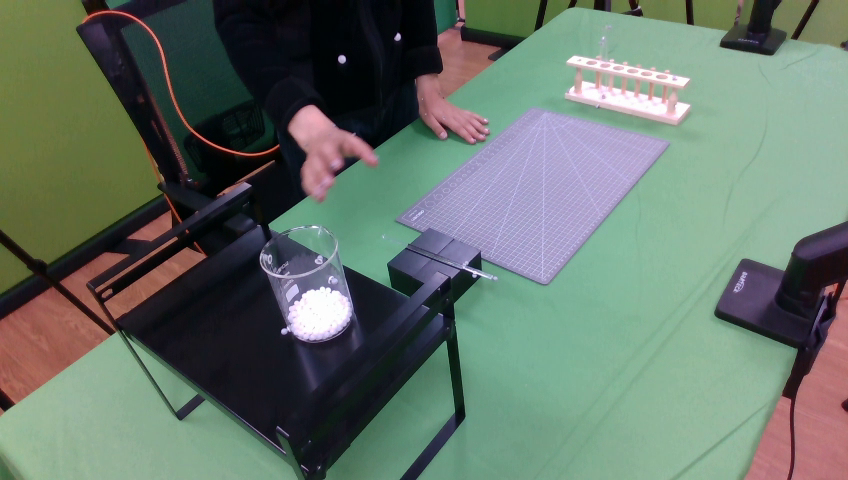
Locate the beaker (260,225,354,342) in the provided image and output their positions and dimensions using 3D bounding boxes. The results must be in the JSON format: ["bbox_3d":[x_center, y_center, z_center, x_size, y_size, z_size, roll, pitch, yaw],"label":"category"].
[{"bbox_3d":[-0.111,0.045,0.601,0.073,0.101,0.084,7,42,17],"label":"beaker"}]

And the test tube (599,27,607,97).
[{"bbox_3d":[0.358,-0.353,1.210,0.017,0.151,0.017,-8,43,8],"label":"test tube"}]

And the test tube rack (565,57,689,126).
[{"bbox_3d":[0.411,-0.311,1.230,0.240,0.085,0.067,23,49,32],"label":"test tube rack"}]

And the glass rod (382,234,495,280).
[{"bbox_3d":[0.017,0.023,0.882,0.198,0.008,0.008,20,48,30],"label":"glass rod"}]
